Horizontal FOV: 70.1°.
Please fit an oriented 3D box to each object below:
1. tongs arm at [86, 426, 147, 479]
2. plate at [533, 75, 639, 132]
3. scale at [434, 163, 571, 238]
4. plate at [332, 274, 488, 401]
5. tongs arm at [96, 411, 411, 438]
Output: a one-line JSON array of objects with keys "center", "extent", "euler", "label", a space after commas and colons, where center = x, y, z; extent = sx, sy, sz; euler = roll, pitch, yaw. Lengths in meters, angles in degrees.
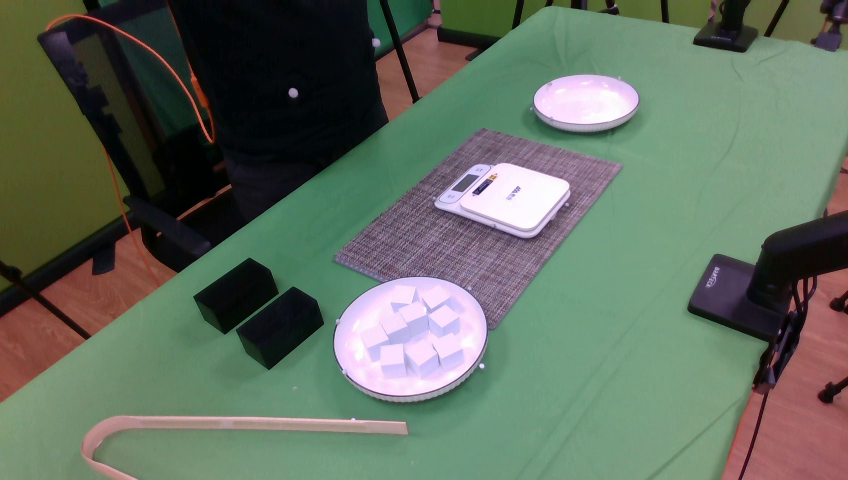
[{"center": [-0.232, 0.280, 0.665], "extent": [0.383, 0.026, 0.051], "euler": [9, 42, 20], "label": "tongs arm"}, {"center": [0.327, -0.272, 1.228], "extent": [0.209, 0.038, 0.208], "euler": [-4, 40, 4], "label": "plate"}, {"center": [0.132, -0.075, 1.025], "extent": [0.199, 0.032, 0.149], "euler": [22, 48, 30], "label": "scale"}, {"center": [-0.017, 0.130, 0.808], "extent": [0.207, 0.039, 0.206], "euler": [-4, 41, 4], "label": "plate"}, {"center": [-0.208, 0.226, 0.732], "extent": [0.387, 0.028, 0.028], "euler": [-1, 43, 7], "label": "tongs arm"}]
